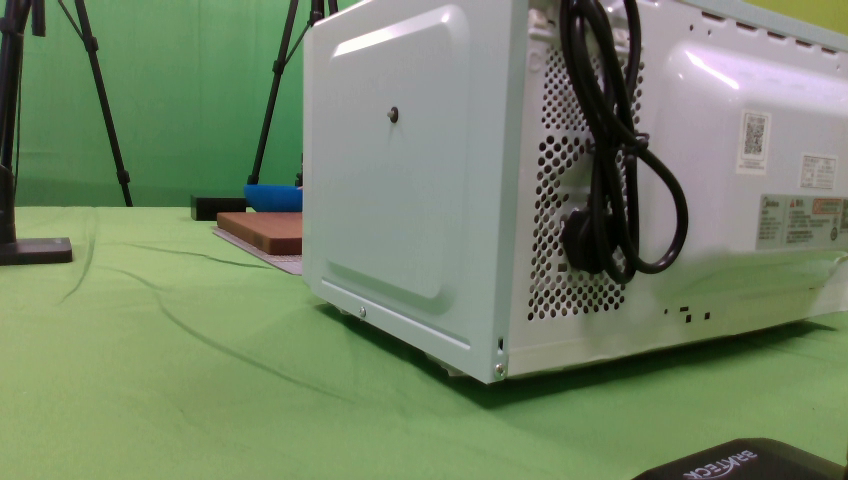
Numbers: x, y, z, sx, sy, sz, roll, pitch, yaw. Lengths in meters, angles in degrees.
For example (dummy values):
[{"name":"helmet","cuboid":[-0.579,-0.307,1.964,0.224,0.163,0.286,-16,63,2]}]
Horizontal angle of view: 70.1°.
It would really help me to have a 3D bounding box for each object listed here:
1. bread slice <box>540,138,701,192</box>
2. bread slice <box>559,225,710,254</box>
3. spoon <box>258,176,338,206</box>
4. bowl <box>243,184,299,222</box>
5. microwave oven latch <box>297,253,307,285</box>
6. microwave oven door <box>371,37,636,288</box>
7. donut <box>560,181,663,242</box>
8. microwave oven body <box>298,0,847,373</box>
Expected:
[{"name":"bread slice","cuboid":[0.195,-0.073,0.587,0.107,0.018,0.133,-2,21,-38]},{"name":"bread slice","cuboid":[0.206,-0.002,0.580,0.105,0.019,0.131,3,3,-14]},{"name":"spoon","cuboid":[-0.279,-0.112,1.357,0.194,0.021,0.041,-28,19,-27]},{"name":"bowl","cuboid":[-0.321,-0.081,1.333,0.151,0.077,0.151,3,7,0]},{"name":"microwave oven latch","cuboid":[-0.082,0.027,0.583,0.079,0.029,0.030,-1,8,-33]},{"name":"microwave oven door","cuboid":[0.109,-0.080,0.686,0.358,0.243,0.039,-2,9,-33]},{"name":"donut","cuboid":[0.186,-0.029,0.604,0.099,0.048,0.099,10,-9,2]},{"name":"microwave oven body","cuboid":[0.151,-0.055,0.543,0.444,0.260,0.324,-1,7,-33]}]
